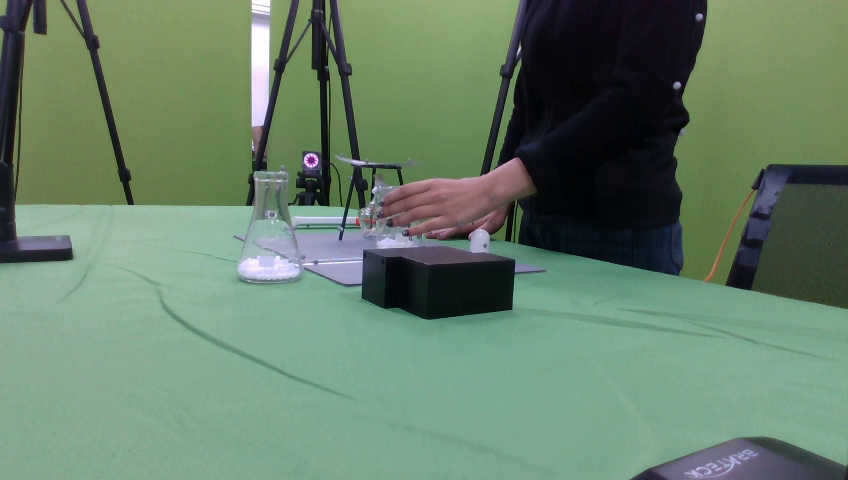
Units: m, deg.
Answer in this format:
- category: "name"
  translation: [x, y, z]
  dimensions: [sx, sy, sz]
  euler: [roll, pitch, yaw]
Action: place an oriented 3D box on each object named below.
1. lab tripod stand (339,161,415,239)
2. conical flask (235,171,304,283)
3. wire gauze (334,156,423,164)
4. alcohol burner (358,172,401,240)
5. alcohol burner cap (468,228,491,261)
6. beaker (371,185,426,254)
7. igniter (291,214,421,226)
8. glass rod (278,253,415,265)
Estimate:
- category: "lab tripod stand"
  translation: [-0.082, -0.070, 1.059]
  dimensions: [0.148, 0.131, 0.148]
  euler: [4, 6, 0]
- category: "conical flask"
  translation: [-0.172, -0.016, 0.677]
  dimensions: [0.075, 0.122, 0.075]
  euler: [2, 7, 0]
- category: "wire gauze"
  translation: [-0.081, -0.137, 1.051]
  dimensions: [0.122, 0.011, 0.124]
  euler: [0, 8, -30]
- category: "alcohol burner"
  translation: [-0.078, -0.061, 1.065]
  dimensions: [0.078, 0.119, 0.078]
  euler: [4, 9, 0]
- category: "alcohol burner cap"
  translation: [0.082, 0.006, 0.878]
  dimensions: [0.034, 0.048, 0.034]
  euler: [3, 6, 0]
- category: "beaker"
  translation: [-0.039, -0.031, 0.906]
  dimensions: [0.084, 0.100, 0.073]
  euler: [-2, 8, -23]
- category: "igniter"
  translation: [-0.135, -0.041, 1.250]
  dimensions: [0.278, 0.025, 0.057]
  euler: [-1, -3, -28]
- category: "glass rod"
  translation: [-0.097, 0.024, 0.805]
  dimensions: [0.201, 0.008, 0.008]
  euler: [-3, 8, -33]
